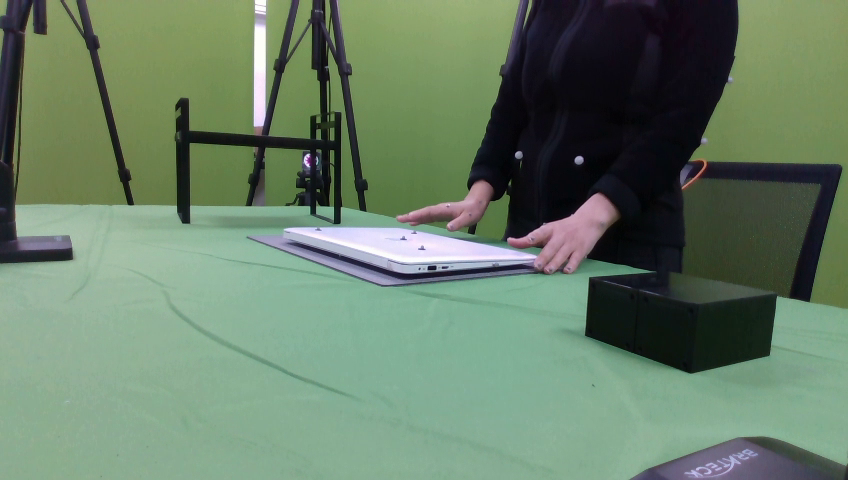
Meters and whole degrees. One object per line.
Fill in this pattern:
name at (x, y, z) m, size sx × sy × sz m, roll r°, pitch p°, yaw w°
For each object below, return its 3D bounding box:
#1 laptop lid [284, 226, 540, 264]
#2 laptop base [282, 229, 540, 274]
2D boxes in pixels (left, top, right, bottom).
laptop lid at (-0.032, 0.002, 0.895) m, size 0.243 × 0.013 × 0.355 m, roll 0°, pitch 8°, yaw -35°
laptop base at (-0.034, 0.014, 0.895) m, size 0.237 × 0.023 × 0.352 m, roll 1°, pitch 7°, yaw -37°
